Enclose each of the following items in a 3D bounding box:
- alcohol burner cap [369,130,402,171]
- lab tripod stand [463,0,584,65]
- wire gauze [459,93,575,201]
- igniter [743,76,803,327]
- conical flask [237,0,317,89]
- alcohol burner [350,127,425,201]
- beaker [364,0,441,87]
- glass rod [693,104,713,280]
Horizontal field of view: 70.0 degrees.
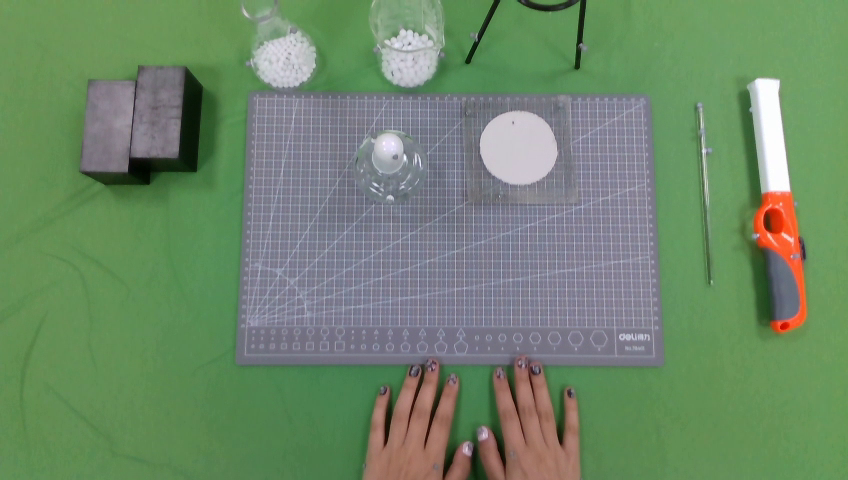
[{"bbox_3d":[-0.036,-0.087,0.576,0.034,0.048,0.033,1,82,-6],"label":"alcohol burner cap"},{"bbox_3d":[0.111,-0.246,0.631,0.148,0.132,0.148,0,83,0],"label":"lab tripod stand"},{"bbox_3d":[0.103,-0.103,0.671,0.125,0.011,0.121,-1,82,-3],"label":"wire gauze"},{"bbox_3d":[0.379,-0.045,0.659,0.057,0.025,0.275,0,82,-11],"label":"igniter"},{"bbox_3d":[-0.157,-0.213,0.628,0.075,0.122,0.075,0,81,-1],"label":"conical flask"},{"bbox_3d":[-0.038,-0.081,0.611,0.078,0.119,0.077,0,83,-1],"label":"alcohol burner"},{"bbox_3d":[-0.018,-0.211,0.641,0.084,0.100,0.074,36,83,4],"label":"beaker"},{"bbox_3d":[0.308,-0.055,0.668,0.008,0.008,0.199,0,81,-1],"label":"glass rod"}]
